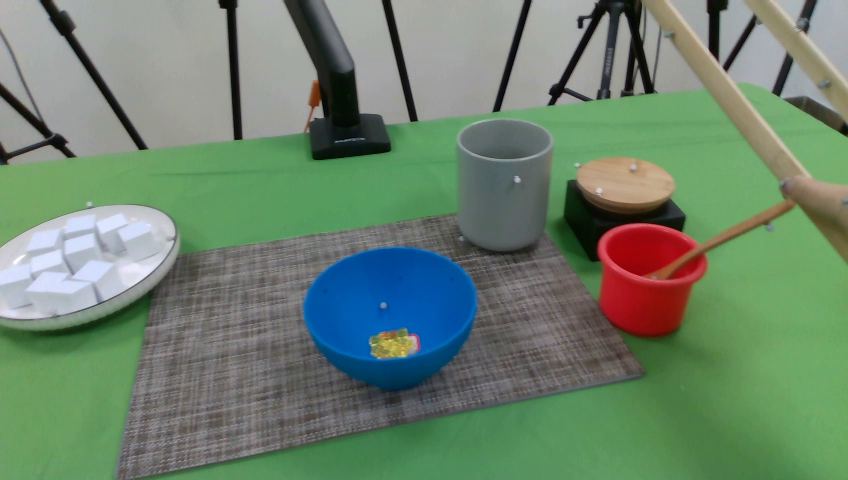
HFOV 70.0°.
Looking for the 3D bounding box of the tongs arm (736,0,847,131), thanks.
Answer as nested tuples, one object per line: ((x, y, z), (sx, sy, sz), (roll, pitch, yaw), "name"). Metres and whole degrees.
((0.306, -0.094, 0.463), (0.051, 0.027, 0.381), (-19, 62, -4), "tongs arm")

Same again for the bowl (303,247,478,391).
((-0.028, 0.080, 0.543), (0.151, 0.077, 0.150), (-1, 35, 1), "bowl")

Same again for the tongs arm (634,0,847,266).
((0.263, -0.079, 0.461), (0.028, 0.028, 0.383), (-20, 61, -8), "tongs arm")

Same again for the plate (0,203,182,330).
((-0.372, 0.029, 0.666), (0.209, 0.038, 0.207), (-2, 36, 2), "plate")

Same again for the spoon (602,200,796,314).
((0.254, 0.017, 0.569), (0.194, 0.022, 0.041), (-38, 26, 27), "spoon")

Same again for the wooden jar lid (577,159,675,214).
((0.232, -0.061, 0.701), (0.108, 0.021, 0.107), (-2, 35, 2), "wooden jar lid")

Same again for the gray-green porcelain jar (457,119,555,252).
((0.090, -0.058, 0.690), (0.106, 0.127, 0.105), (-1, 36, 1), "gray-green porcelain jar")
